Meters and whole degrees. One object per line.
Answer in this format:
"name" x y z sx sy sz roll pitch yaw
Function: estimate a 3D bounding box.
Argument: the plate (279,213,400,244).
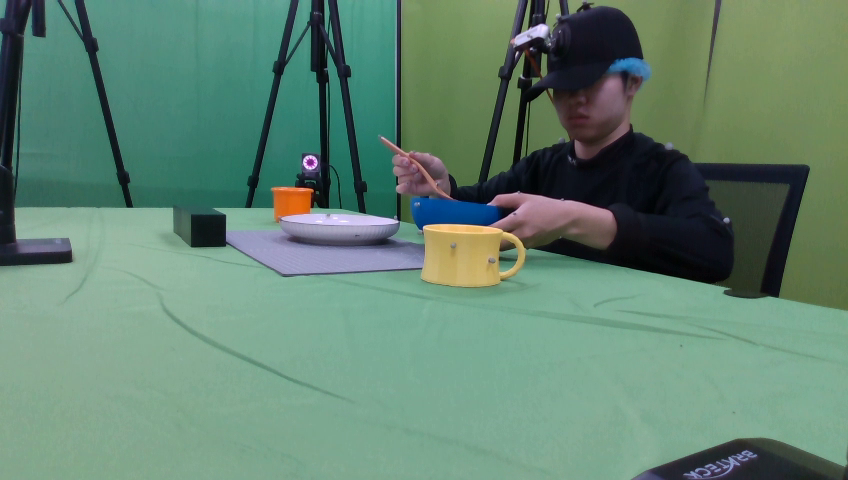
"plate" -0.147 -0.020 1.060 0.209 0.038 0.209 3 7 0

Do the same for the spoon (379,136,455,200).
"spoon" -0.009 -0.119 1.021 0.193 0.021 0.042 46 13 19

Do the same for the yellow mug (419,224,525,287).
"yellow mug" 0.060 0.018 0.746 0.131 0.064 0.100 2 7 -7

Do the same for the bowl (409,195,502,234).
"bowl" 0.046 -0.023 0.969 0.151 0.077 0.151 8 2 0
